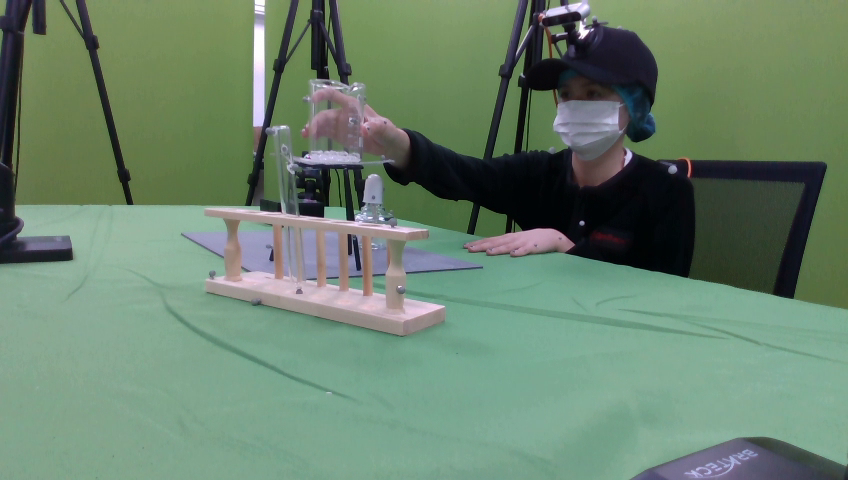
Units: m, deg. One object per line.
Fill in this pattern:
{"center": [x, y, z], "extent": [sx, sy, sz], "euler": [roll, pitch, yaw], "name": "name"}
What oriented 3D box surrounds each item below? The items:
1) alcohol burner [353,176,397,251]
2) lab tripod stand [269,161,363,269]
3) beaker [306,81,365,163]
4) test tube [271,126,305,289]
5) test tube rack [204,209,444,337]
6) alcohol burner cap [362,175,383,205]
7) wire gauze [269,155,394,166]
{"center": [-0.082, -0.043, 0.950], "extent": [0.078, 0.119, 0.078], "euler": [1, 8, 0], "name": "alcohol burner"}
{"center": [-0.125, -0.036, 0.794], "extent": [0.148, 0.131, 0.148], "euler": [5, 7, 0], "name": "lab tripod stand"}
{"center": [-0.113, -0.150, 0.780], "extent": [0.074, 0.100, 0.083], "euler": [-2, 10, -29], "name": "beaker"}
{"center": [-0.124, -0.028, 0.554], "extent": [0.017, 0.150, 0.017], "euler": [-5, 7, 1], "name": "test tube"}
{"center": [-0.100, 0.021, 0.565], "extent": [0.241, 0.085, 0.067], "euler": [7, 9, 32], "name": "test tube rack"}
{"center": [-0.079, -0.078, 0.944], "extent": [0.034, 0.048, 0.034], "euler": [4, 7, 0], "name": "alcohol burner cap"}
{"center": [-0.122, -0.101, 0.785], "extent": [0.122, 0.011, 0.124], "euler": [-3, 11, -38], "name": "wire gauze"}
